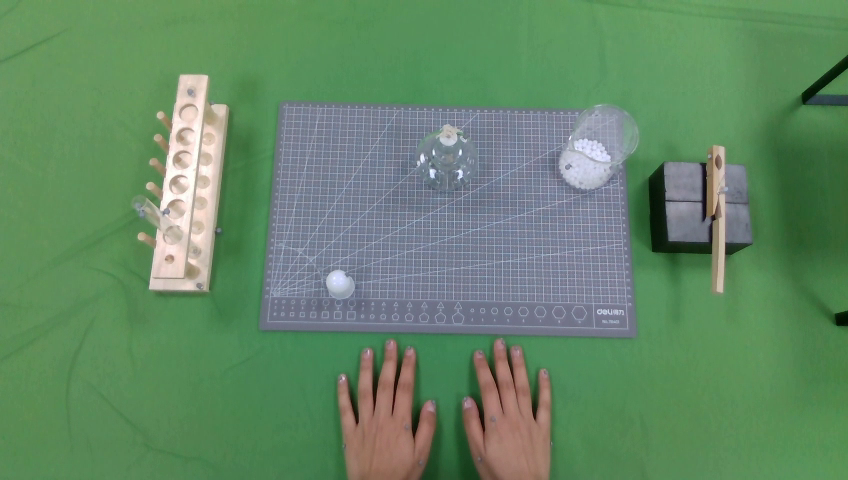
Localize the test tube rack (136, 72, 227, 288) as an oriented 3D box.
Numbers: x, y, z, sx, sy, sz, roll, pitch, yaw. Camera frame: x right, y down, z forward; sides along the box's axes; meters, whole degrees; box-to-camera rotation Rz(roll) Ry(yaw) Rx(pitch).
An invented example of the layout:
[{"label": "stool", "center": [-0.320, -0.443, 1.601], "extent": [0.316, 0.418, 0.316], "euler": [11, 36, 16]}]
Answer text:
[{"label": "test tube rack", "center": [-0.290, -0.070, 0.717], "extent": [0.067, 0.085, 0.241], "euler": [1, 75, -1]}]

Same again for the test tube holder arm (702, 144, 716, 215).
[{"label": "test tube holder arm", "center": [0.340, -0.072, 0.721], "extent": [0.010, 0.015, 0.087], "euler": [4, 77, 1]}]

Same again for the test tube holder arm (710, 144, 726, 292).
[{"label": "test tube holder arm", "center": [0.343, -0.028, 0.711], "extent": [0.013, 0.015, 0.177], "euler": [2, 77, 0]}]

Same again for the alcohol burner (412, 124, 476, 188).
[{"label": "alcohol burner", "center": [0.024, -0.107, 0.718], "extent": [0.078, 0.119, 0.077], "euler": [0, 76, 1]}]

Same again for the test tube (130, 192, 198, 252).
[{"label": "test tube", "center": [-0.275, -0.016, 0.652], "extent": [0.017, 0.151, 0.017], "euler": [0, 71, 0]}]

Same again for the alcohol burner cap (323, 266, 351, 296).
[{"label": "alcohol burner cap", "center": [-0.104, 0.046, 0.712], "extent": [0.034, 0.048, 0.033], "euler": [1, 75, -3]}]

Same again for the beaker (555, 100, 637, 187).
[{"label": "beaker", "center": [0.200, -0.110, 0.732], "extent": [0.084, 0.101, 0.073], "euler": [-21, 76, -6]}]
